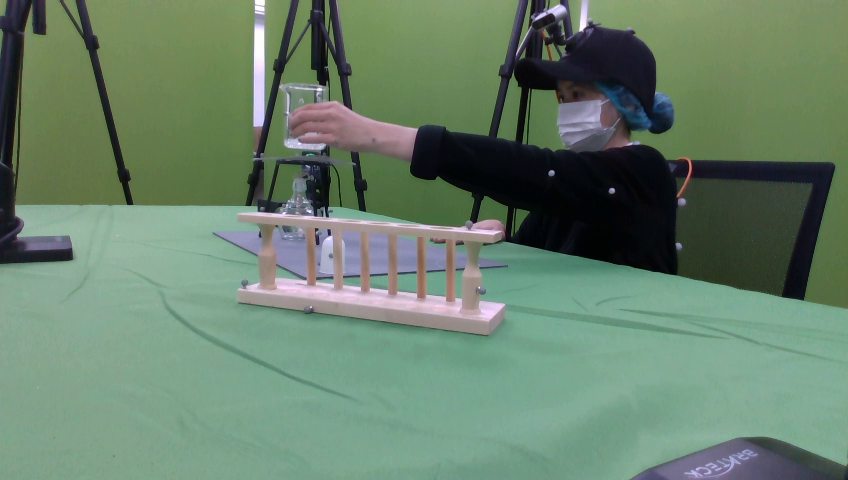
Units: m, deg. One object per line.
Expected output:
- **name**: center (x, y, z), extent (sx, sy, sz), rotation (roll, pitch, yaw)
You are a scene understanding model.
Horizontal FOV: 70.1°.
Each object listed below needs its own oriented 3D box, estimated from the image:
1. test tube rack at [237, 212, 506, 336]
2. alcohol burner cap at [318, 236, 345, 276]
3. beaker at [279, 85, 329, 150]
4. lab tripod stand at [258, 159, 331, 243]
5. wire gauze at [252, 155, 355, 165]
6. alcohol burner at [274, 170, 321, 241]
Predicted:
- **test tube rack**: center (-0.049, 0.024, 0.552), extent (0.242, 0.085, 0.067), rotation (5, 8, 18)
- **alcohol burner cap**: center (-0.110, 0.019, 0.723), extent (0.034, 0.048, 0.034), rotation (2, 6, 0)
- **beaker**: center (-0.195, -0.197, 0.977), extent (0.084, 0.100, 0.073), rotation (-5, 13, -39)
- **lab tripod stand**: center (-0.202, -0.067, 1.010), extent (0.148, 0.131, 0.148), rotation (2, 5, 0)
- **wire gauze**: center (-0.196, -0.133, 0.999), extent (0.121, 0.011, 0.125), rotation (4, 5, 22)
- **alcohol burner**: center (-0.211, -0.058, 1.015), extent (0.078, 0.119, 0.078), rotation (4, 5, 0)
